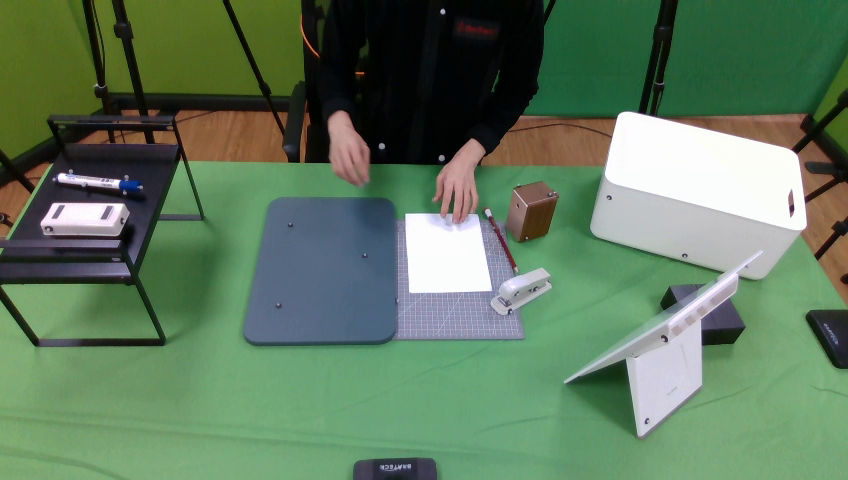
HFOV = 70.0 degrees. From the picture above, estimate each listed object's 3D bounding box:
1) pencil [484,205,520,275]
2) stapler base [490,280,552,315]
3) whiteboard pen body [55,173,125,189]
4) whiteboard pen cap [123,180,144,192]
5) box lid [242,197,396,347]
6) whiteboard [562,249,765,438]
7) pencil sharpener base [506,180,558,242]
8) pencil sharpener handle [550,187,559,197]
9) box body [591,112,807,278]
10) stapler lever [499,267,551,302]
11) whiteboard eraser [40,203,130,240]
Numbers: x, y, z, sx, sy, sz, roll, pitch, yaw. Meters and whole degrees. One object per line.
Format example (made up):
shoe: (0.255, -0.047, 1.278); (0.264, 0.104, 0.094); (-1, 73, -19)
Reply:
pencil: (0.156, -0.002, 1.218); (0.012, 0.012, 0.192); (-10, 48, -13)
stapler base: (0.181, 0.094, 1.118); (0.130, 0.024, 0.041); (-24, 56, -29)
whiteboard pen body: (-0.539, -0.095, 0.998); (0.141, 0.017, 0.017); (6, 46, 6)
whiteboard pen cap: (-0.479, -0.089, 0.993); (0.033, 0.018, 0.018); (7, 46, 14)
box lid: (-0.186, 0.046, 1.147); (0.263, 0.015, 0.369); (0, 46, -3)
whiteboard: (0.386, 0.175, 0.905); (0.217, 0.306, 0.143); (-26, 72, -26)
pencil sharpener base: (0.216, -0.058, 1.211); (0.077, 0.107, 0.061); (-16, 49, -19)
pencil sharpener handle: (0.261, -0.084, 1.221); (0.031, 0.068, 0.036); (-16, 66, -19)
box body: (0.540, -0.092, 1.229); (0.363, 0.161, 0.253); (16, 47, 11)
stapler lever: (0.185, 0.076, 1.101); (0.118, 0.040, 0.026); (-25, 56, -29)
whiteboard eraser: (-0.513, -0.028, 0.922); (0.113, 0.042, 0.055); (1, 48, -3)
